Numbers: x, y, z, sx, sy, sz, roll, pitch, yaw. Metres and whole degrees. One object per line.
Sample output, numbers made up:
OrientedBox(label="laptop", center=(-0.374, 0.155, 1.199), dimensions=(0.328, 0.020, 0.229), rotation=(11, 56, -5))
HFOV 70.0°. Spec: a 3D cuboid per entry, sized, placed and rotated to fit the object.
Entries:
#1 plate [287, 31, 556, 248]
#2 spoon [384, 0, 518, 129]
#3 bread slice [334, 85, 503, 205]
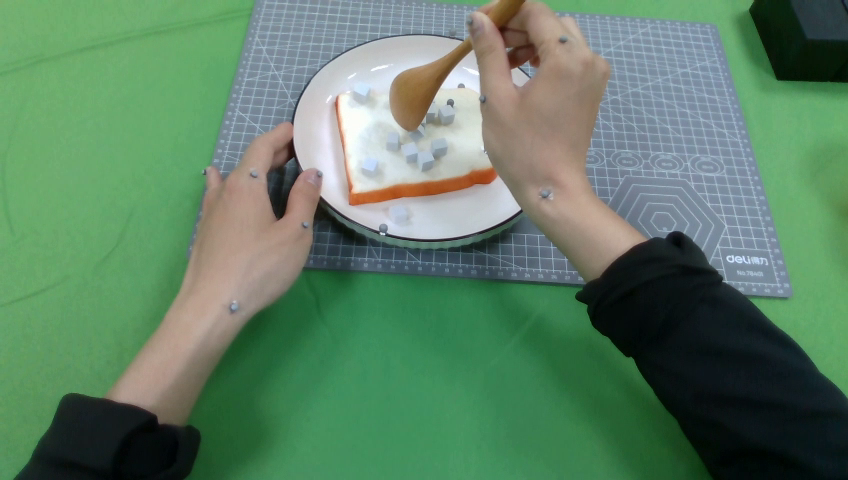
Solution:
OrientedBox(label="plate", center=(-0.002, -0.080, 0.482), dimensions=(0.209, 0.038, 0.207), rotation=(2, 60, -3))
OrientedBox(label="spoon", center=(0.023, -0.130, 0.396), dimensions=(0.022, 0.193, 0.041), rotation=(-20, 82, -42))
OrientedBox(label="bread slice", center=(-0.004, -0.083, 0.488), dimensions=(0.132, 0.019, 0.104), rotation=(-10, 62, -8))
